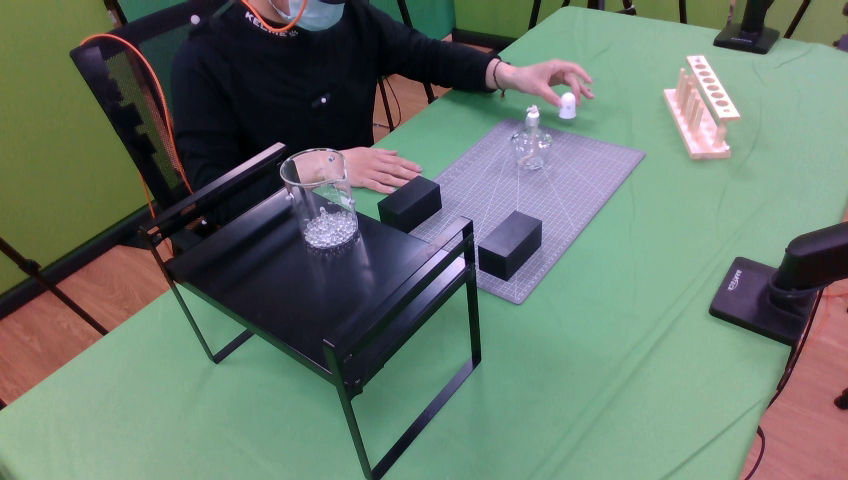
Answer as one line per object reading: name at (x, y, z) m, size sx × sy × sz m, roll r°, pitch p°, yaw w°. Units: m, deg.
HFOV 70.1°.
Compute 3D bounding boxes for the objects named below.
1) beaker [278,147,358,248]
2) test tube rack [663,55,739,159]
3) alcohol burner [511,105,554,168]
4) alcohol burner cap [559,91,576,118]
beaker at (-0.117, -0.046, 0.705) m, size 0.083 × 0.101 × 0.074 m, roll 17°, pitch 47°, yaw 25°
test tube rack at (0.518, -0.256, 1.144) m, size 0.066 × 0.085 × 0.241 m, roll -1°, pitch 41°, yaw 8°
alcohol burner at (0.196, -0.190, 1.088) m, size 0.078 × 0.119 × 0.077 m, roll -3°, pitch 42°, yaw 3°
alcohol burner cap at (0.276, -0.261, 1.161) m, size 0.034 × 0.048 × 0.033 m, roll -6°, pitch 37°, yaw 5°
